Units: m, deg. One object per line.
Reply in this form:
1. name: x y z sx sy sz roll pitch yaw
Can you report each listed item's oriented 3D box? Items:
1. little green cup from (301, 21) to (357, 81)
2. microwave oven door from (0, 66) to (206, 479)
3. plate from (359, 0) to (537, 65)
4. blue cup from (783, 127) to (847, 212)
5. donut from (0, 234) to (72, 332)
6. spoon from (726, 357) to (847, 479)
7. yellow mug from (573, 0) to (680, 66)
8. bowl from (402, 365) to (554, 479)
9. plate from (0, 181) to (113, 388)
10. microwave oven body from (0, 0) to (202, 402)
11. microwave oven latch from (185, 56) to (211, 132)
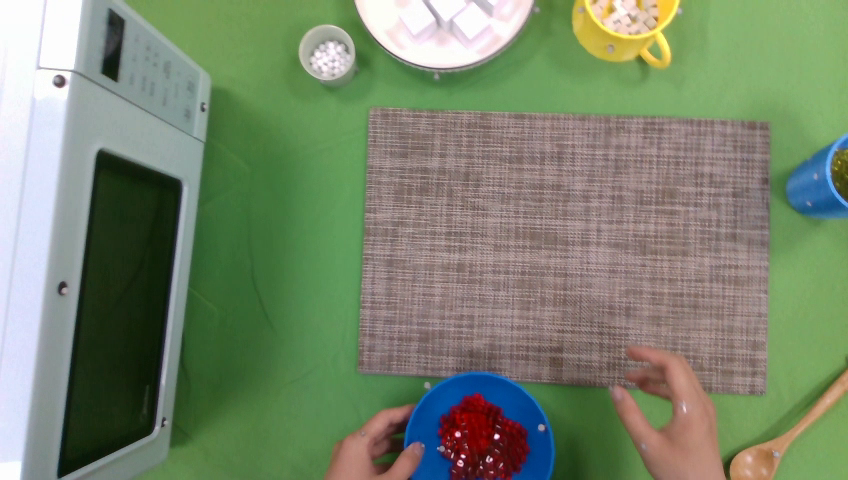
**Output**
1. little green cup: -0.104 -0.210 0.683 0.061 0.038 0.061 0 88 2
2. microwave oven door: -0.286 0.050 0.562 0.039 0.244 0.355 6 87 4
3. plate: 0.028 -0.296 0.683 0.207 0.039 0.207 0 87 3
4. blue cup: 0.426 -0.067 0.624 0.092 0.100 0.092 0 86 1
5. donut: -0.405 0.043 0.610 0.099 0.048 0.099 0 92 1
6. spoon: 0.402 0.191 0.653 0.194 0.022 0.041 -42 75 0
7. yellow mug: 0.227 -0.246 0.659 0.100 0.064 0.130 -34 87 0
8. bowl: 0.054 0.202 0.641 0.151 0.077 0.151 0 88 3
9. plate: -0.419 0.045 0.623 0.209 0.038 0.209 0 90 1
10. microwave oven body: -0.427 -0.007 0.575 0.326 0.260 0.441 6 88 2
11. microwave oven latch: -0.256 -0.162 0.671 0.030 0.029 0.079 8 88 2
